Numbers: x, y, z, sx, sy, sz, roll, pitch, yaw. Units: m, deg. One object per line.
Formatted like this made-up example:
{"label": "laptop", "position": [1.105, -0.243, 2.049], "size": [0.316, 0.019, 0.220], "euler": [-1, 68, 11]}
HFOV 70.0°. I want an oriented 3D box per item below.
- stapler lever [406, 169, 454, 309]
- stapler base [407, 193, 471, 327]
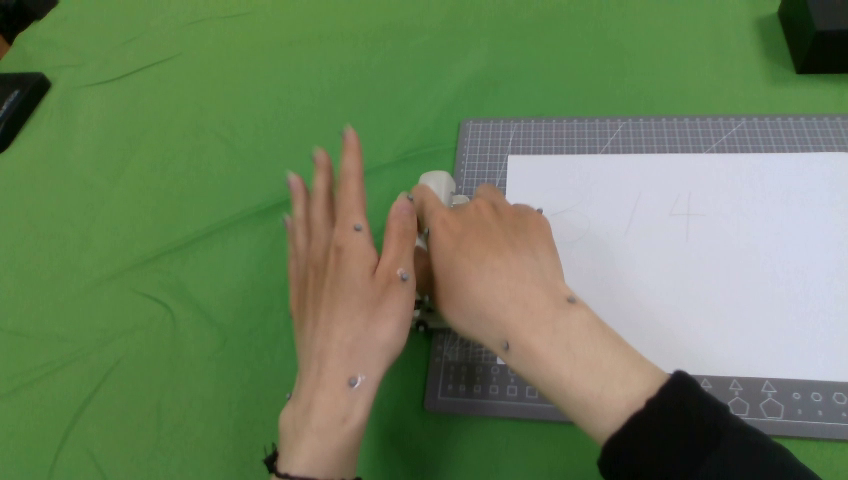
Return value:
{"label": "stapler lever", "position": [0.005, -0.004, 0.479], "size": [0.027, 0.040, 0.117], "euler": [-4, 56, 20]}
{"label": "stapler base", "position": [0.012, 0.009, 0.499], "size": [0.041, 0.025, 0.129], "euler": [-4, 56, 20]}
